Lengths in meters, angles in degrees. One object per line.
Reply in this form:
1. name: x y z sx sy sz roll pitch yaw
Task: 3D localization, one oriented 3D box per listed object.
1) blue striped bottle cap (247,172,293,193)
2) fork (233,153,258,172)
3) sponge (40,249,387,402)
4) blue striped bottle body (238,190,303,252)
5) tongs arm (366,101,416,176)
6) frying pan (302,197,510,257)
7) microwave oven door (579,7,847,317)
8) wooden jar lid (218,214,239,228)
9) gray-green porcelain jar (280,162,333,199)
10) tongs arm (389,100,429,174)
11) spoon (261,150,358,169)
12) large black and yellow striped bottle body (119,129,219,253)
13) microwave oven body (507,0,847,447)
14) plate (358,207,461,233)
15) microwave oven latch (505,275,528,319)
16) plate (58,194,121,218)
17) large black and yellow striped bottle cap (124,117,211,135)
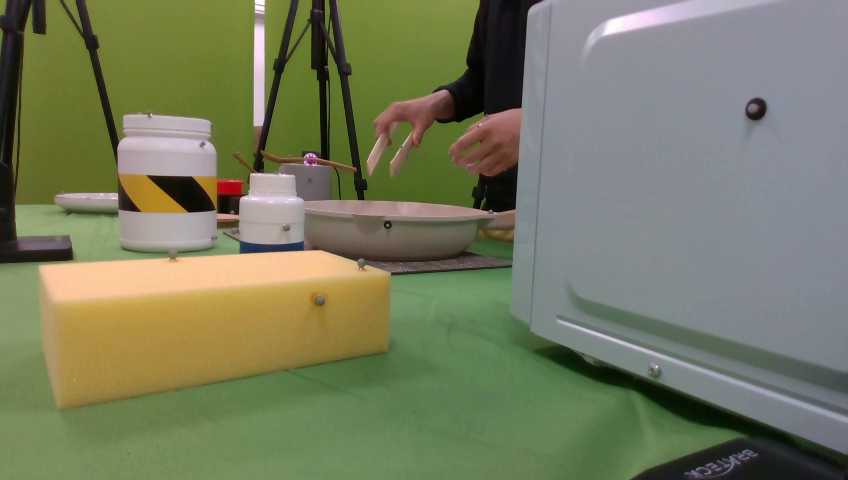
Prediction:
1. blue striped bottle cap: -0.152 -0.057 0.598 0.044 0.020 0.044 3 6 0
2. fork: -0.396 -0.144 1.486 0.028 0.018 0.208 20 -25 45
3. sponge: -0.142 0.047 0.419 0.208 0.061 0.117 -3 8 -36
4. blue striped bottle body: -0.153 -0.007 0.606 0.063 0.120 0.063 2 8 0
5. tongs arm: -0.061 -0.206 1.176 0.028 0.028 0.387 -8 26 14
6. frying pan: 0.051 -0.035 0.915 0.487 0.102 0.307 -5 7 11
7. microwave oven door: 0.294 -0.067 0.570 0.358 0.243 0.039 -3 9 -31
8. wooden jar lid: -0.404 -0.037 1.169 0.108 0.020 0.108 3 7 0
9. gray-green porcelain jar: -0.238 -0.092 1.221 0.106 0.126 0.106 2 7 0
10. tongs arm: -0.036 -0.208 1.172 0.050 0.026 0.385 -3 27 16
11. spoon: -0.229 -0.162 1.222 0.194 0.021 0.041 3 3 -16
12. large black and yellow striped bottle body: -0.367 -0.080 0.876 0.131 0.184 0.130 1 7 0
13. microwave oven body: 0.331 -0.042 0.425 0.444 0.260 0.324 -2 8 -31
14. plate: -0.030 -0.041 1.214 0.208 0.039 0.207 3 7 0
15. microwave oven latch: 0.100 0.041 0.471 0.079 0.029 0.030 -1 7 -28
16. plate: -0.671 -0.074 1.310 0.209 0.038 0.209 2 8 0
17. large black and yellow striped bottle cap: -0.366 -0.163 0.866 0.115 0.019 0.115 3 7 0
